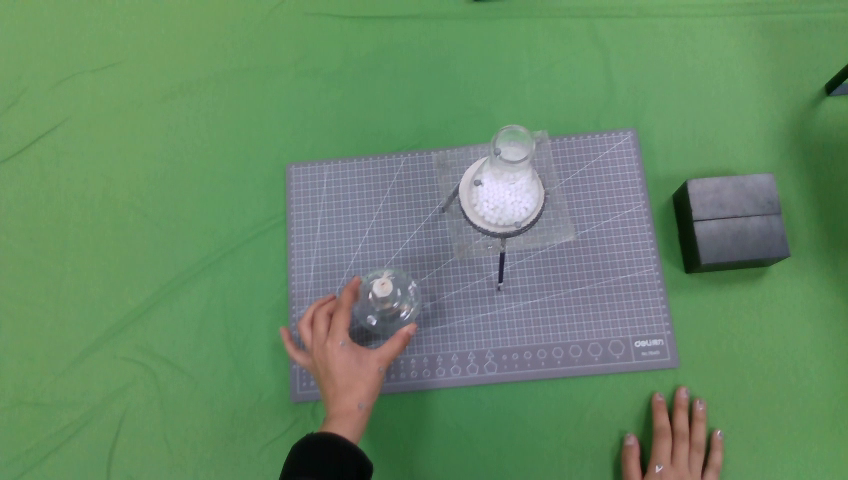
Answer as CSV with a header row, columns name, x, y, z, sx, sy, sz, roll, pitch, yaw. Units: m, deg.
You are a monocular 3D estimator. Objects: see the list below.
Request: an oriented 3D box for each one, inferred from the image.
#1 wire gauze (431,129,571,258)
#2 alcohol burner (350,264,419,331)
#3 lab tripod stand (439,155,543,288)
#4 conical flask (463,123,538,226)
name,x,y,z,sx,sy,sz,roll,pitch,yaw
wire gauze,0.077,-0.048,0.618,0.125,0.011,0.121,-10,77,-3
alcohol burner,-0.044,0.059,0.668,0.078,0.120,0.077,0,72,0
lab tripod stand,0.083,-0.033,0.681,0.148,0.132,0.147,-1,73,3
conical flask,0.075,-0.064,0.561,0.075,0.122,0.075,-1,74,2
